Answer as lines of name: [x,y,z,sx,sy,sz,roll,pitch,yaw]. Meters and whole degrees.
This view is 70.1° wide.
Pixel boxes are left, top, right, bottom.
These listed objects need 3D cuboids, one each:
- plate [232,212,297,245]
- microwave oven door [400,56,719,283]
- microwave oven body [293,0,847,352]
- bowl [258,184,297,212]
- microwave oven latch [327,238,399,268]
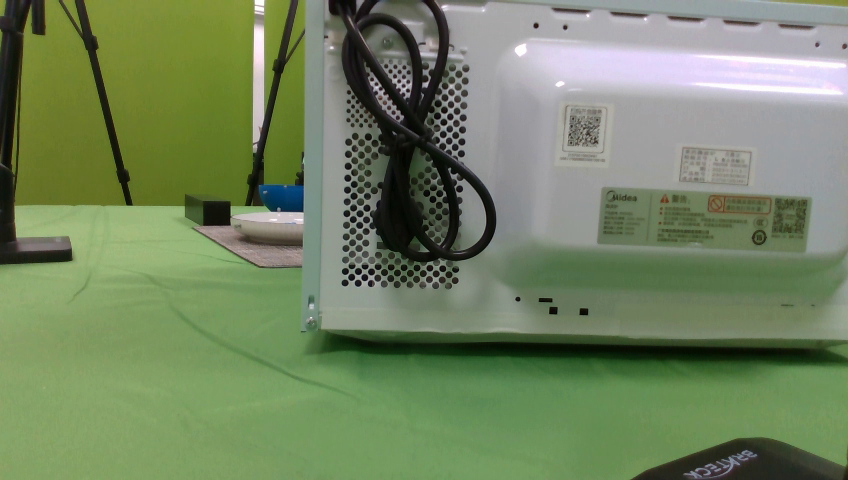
plate: [-0.214,-0.019,1.018,0.208,0.039,0.207,2,7,0]
microwave oven door: [0.155,-0.078,0.698,0.356,0.243,0.039,2,8,-5]
microwave oven body: [0.122,-0.055,0.550,0.442,0.260,0.325,3,7,-5]
bowl: [-0.287,-0.079,1.327,0.151,0.077,0.151,3,8,0]
microwave oven latch: [-0.069,0.015,0.694,0.079,0.029,0.030,3,7,-3]
